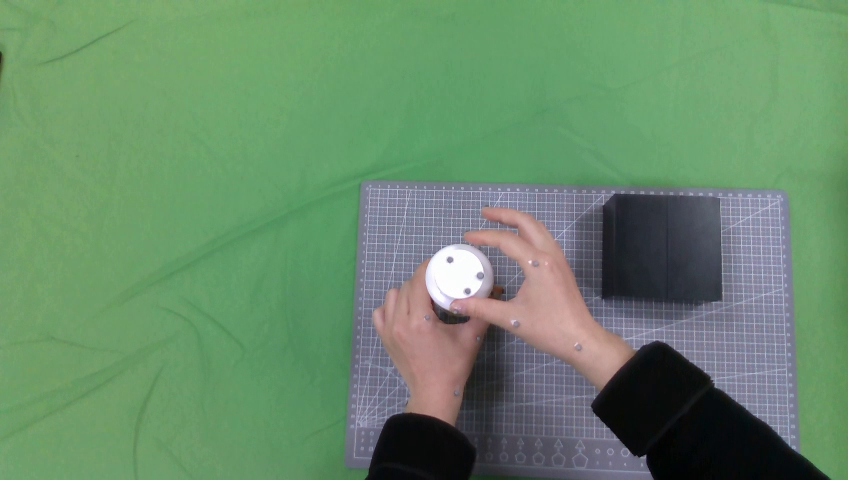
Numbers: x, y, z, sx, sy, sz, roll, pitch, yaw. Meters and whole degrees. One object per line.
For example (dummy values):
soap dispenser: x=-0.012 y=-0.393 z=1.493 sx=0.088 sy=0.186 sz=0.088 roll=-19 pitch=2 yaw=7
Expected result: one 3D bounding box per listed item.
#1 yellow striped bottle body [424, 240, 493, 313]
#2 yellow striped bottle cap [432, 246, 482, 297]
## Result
yellow striped bottle body: x=0.032 y=0.036 z=0.577 sx=0.063 sy=0.120 sz=0.062 roll=0 pitch=81 yaw=2
yellow striped bottle cap: x=0.029 y=0.027 z=0.526 sx=0.044 sy=0.019 sz=0.044 roll=0 pitch=82 yaw=1
